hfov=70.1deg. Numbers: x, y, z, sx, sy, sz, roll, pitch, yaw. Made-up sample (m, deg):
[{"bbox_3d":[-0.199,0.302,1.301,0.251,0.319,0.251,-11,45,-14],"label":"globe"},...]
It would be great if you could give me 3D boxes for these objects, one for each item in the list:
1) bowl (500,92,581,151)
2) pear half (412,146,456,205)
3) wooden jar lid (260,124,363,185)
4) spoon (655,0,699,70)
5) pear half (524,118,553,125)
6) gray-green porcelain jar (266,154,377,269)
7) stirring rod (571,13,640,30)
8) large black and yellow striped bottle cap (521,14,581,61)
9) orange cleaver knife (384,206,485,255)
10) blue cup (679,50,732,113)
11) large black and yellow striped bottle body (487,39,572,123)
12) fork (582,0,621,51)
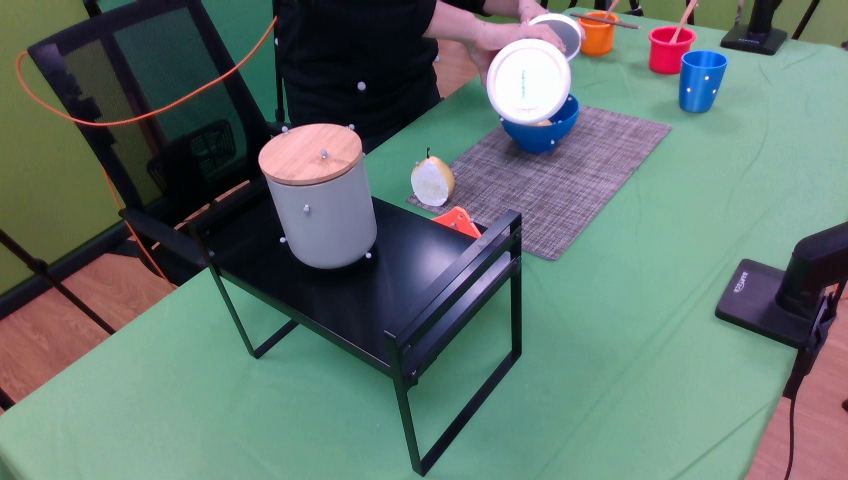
[{"bbox_3d":[0.221,-0.223,1.155,0.151,0.077,0.150,-4,40,4],"label":"bowl"},{"bbox_3d":[0.019,-0.120,1.042,0.076,0.110,0.056,11,44,16],"label":"pear half"},{"bbox_3d":[-0.119,-0.088,0.645,0.108,0.021,0.108,-4,40,4],"label":"wooden jar lid"},{"bbox_3d":[0.567,-0.463,1.337,0.041,0.022,0.193,30,97,37],"label":"spoon"},{"bbox_3d":[0.212,-0.228,1.151,0.088,0.031,0.070,7,42,8],"label":"pear half"},{"bbox_3d":[-0.112,-0.039,0.685,0.106,0.127,0.105,-4,40,4],"label":"gray-green porcelain jar"},{"bbox_3d":[0.419,-0.508,1.404,0.174,0.006,0.014,28,55,35],"label":"stirring rod"},{"bbox_3d":[0.247,-0.386,1.174,0.114,0.115,0.018,3,60,13],"label":"large black and yellow striped bottle cap"},{"bbox_3d":[0.012,-0.010,0.942,0.012,0.077,0.210,-37,19,-35],"label":"orange cleaver knife"},{"bbox_3d":[0.545,-0.309,1.193,0.092,0.100,0.092,-4,39,3],"label":"blue cup"},{"bbox_3d":[0.184,-0.272,1.026,0.130,0.131,0.184,4,18,13],"label":"large black and yellow striped bottle body"},{"bbox_3d":[0.446,-0.538,1.438,0.207,0.019,0.028,-57,36,12],"label":"fork"}]
